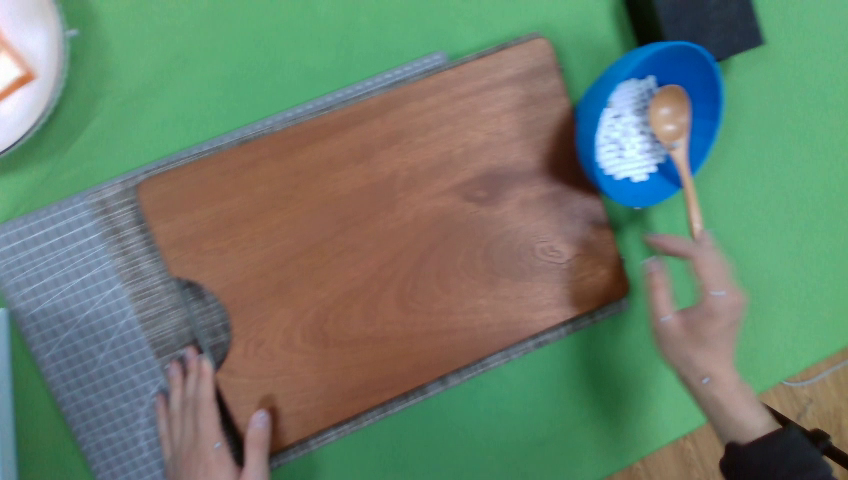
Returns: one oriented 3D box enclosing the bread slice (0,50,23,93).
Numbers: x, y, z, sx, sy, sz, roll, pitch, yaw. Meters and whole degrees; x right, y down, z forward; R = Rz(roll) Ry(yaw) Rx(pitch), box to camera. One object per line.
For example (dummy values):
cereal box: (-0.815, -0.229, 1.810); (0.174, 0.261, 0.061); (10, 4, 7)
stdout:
bread slice: (-0.420, -0.158, 0.494); (0.105, 0.019, 0.132); (-39, 100, -7)

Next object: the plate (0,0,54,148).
plate: (-0.412, -0.161, 0.495); (0.208, 0.039, 0.208); (-1, 95, -10)

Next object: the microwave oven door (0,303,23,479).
microwave oven door: (-0.348, 0.239, 0.416); (0.039, 0.243, 0.356); (-3, 95, -9)

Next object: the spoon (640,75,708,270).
spoon: (0.247, -0.062, 0.585); (0.041, 0.021, 0.194); (-17, 95, -1)

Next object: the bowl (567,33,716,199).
bowl: (0.190, -0.121, 0.574); (0.152, 0.076, 0.152); (-12, 118, -24)
